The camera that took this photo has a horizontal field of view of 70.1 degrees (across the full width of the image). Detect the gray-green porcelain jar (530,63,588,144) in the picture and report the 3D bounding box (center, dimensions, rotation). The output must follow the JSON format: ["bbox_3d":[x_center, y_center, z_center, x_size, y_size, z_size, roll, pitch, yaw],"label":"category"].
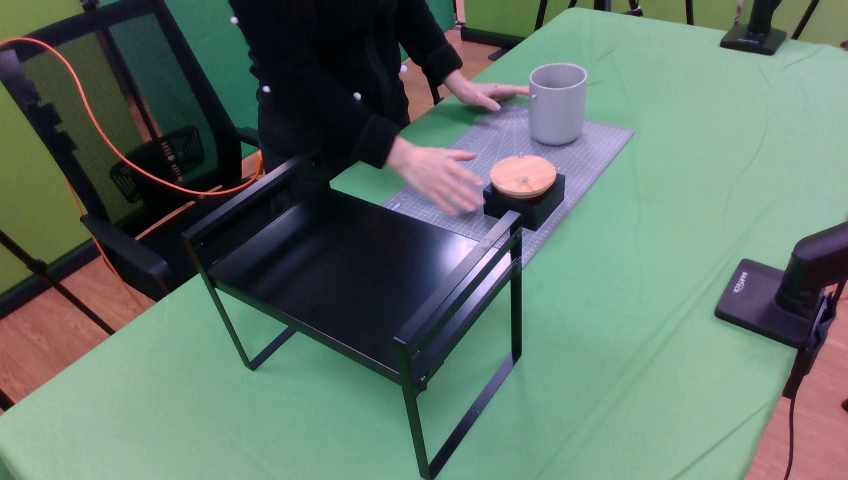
[{"bbox_3d":[0.254,-0.255,1.151,0.106,0.127,0.105,-4,41,4],"label":"gray-green porcelain jar"}]

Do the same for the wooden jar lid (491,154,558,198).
[{"bbox_3d":[0.164,-0.104,0.994,0.108,0.021,0.108,-4,40,4],"label":"wooden jar lid"}]
